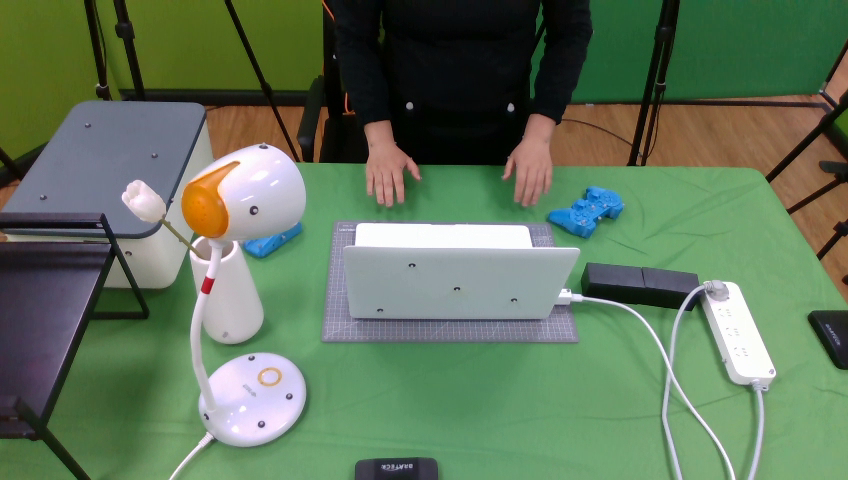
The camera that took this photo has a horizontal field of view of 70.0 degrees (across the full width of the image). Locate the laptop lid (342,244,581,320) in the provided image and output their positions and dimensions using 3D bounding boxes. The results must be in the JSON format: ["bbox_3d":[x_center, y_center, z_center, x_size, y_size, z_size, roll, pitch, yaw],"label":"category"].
[{"bbox_3d":[0.051,0.074,0.969,0.357,0.243,0.013,1,56,-5],"label":"laptop lid"}]

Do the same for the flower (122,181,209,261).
[{"bbox_3d":[-0.329,0.029,0.905,0.038,0.364,0.044,-21,58,-1],"label":"flower"}]

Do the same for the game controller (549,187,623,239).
[{"bbox_3d":[0.345,-0.065,1.272,0.155,0.052,0.096,-31,58,-29],"label":"game controller"}]

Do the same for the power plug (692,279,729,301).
[{"bbox_3d":[0.522,0.092,1.115,0.072,0.053,0.035,8,46,7],"label":"power plug"}]

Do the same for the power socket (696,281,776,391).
[{"bbox_3d":[0.550,0.160,1.078,0.072,0.033,0.225,2,46,-1],"label":"power socket"}]

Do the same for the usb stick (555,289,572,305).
[{"bbox_3d":[0.236,0.103,1.101,0.059,0.027,0.021,0,48,1],"label":"usb stick"}]

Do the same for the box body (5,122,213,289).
[{"bbox_3d":[-0.563,-0.088,1.139,0.254,0.161,0.361,2,46,-3],"label":"box body"}]

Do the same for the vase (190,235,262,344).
[{"bbox_3d":[-0.317,0.081,0.971,0.098,0.201,0.097,3,47,-3],"label":"vase"}]

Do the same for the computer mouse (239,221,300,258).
[{"bbox_3d":[-0.301,-0.016,1.178,0.062,0.041,0.117,35,57,22],"label":"computer mouse"}]

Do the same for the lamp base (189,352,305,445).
[{"bbox_3d":[-0.268,0.196,0.876,0.160,0.181,0.179,25,52,19],"label":"lamp base"}]

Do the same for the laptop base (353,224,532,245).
[{"bbox_3d":[0.040,0.056,1.149,0.355,0.023,0.234,1,43,-4],"label":"laptop base"}]

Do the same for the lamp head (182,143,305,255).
[{"bbox_3d":[-0.216,-0.044,0.697,0.112,0.113,0.123,23,31,17],"label":"lamp head"}]

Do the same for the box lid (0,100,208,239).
[{"bbox_3d":[-0.559,-0.138,1.085,0.263,0.015,0.369,2,46,-2],"label":"box lid"}]
